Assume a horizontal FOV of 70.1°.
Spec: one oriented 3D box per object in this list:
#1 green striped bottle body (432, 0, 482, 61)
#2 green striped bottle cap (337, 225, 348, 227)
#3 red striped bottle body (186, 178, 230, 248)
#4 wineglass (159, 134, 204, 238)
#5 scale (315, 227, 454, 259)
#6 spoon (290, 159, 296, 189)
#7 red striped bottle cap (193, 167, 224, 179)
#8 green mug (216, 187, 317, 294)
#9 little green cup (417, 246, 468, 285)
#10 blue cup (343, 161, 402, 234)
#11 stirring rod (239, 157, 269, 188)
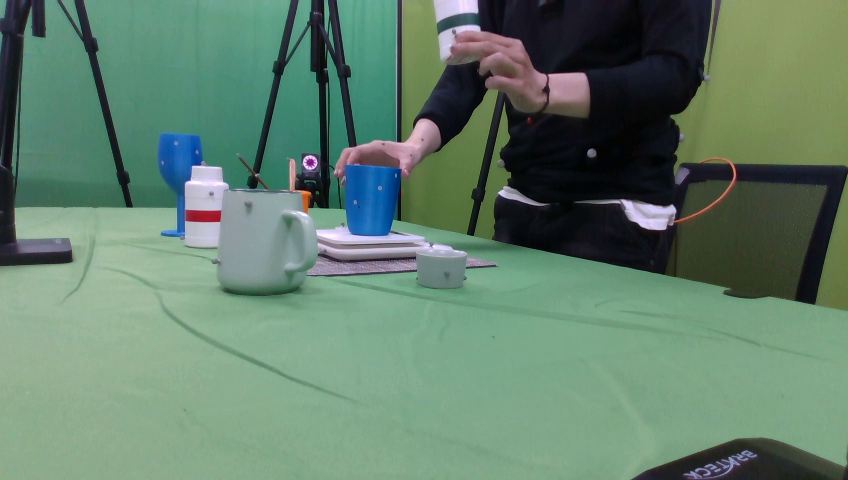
[{"bbox_3d":[0.046,-0.324,0.867,0.063,0.119,0.063,-8,4,1],"label":"green striped bottle body"},{"bbox_3d":[-0.138,-0.015,1.093,0.044,0.020,0.044,0,11,0],"label":"green striped bottle cap"},{"bbox_3d":[-0.331,-0.049,0.927,0.063,0.119,0.063,2,7,0],"label":"red striped bottle body"},{"bbox_3d":[-0.415,-0.093,1.040,0.074,0.172,0.073,2,7,0],"label":"wineglass"},{"bbox_3d":[-0.067,0.001,0.906,0.202,0.031,0.148,-2,8,-31],"label":"scale"},{"bbox_3d":[-0.273,-0.102,1.252,0.042,0.193,0.021,7,-39,-17],"label":"spoon"},{"bbox_3d":[-0.329,-0.103,0.921,0.044,0.017,0.044,0,9,0],"label":"red striped bottle cap"},{"bbox_3d":[-0.157,0.000,0.629,0.124,0.105,0.093,7,9,37],"label":"green mug"},{"bbox_3d":[0.021,0.029,0.701,0.061,0.038,0.061,1,6,0],"label":"little green cup"},{"bbox_3d":[-0.078,-0.062,0.884,0.093,0.100,0.092,4,6,0],"label":"blue cup"},{"bbox_3d":[-0.309,-0.098,1.209,0.006,0.177,0.014,-38,29,-3],"label":"stirring rod"}]
